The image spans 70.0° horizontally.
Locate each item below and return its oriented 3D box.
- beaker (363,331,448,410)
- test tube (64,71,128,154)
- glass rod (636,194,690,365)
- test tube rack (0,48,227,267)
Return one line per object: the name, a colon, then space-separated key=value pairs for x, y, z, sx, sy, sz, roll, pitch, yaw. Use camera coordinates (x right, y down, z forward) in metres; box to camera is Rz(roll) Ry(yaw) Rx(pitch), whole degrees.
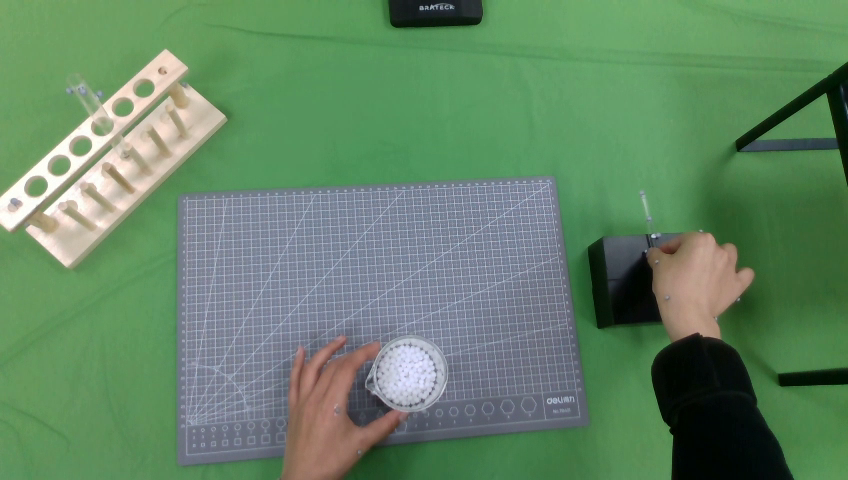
beaker: x=-0.022 y=0.139 z=0.634 sx=0.084 sy=0.100 sz=0.073 roll=-14 pitch=78 yaw=-8
test tube: x=-0.331 y=-0.126 z=0.621 sx=0.017 sy=0.151 sz=0.017 roll=3 pitch=72 yaw=-8
glass rod: x=0.269 y=0.042 z=0.683 sx=0.008 sy=0.008 sz=0.198 roll=-11 pitch=78 yaw=-8
test tube rack: x=-0.336 y=-0.088 z=0.663 sx=0.066 sy=0.085 sz=0.242 roll=40 pitch=76 yaw=5
